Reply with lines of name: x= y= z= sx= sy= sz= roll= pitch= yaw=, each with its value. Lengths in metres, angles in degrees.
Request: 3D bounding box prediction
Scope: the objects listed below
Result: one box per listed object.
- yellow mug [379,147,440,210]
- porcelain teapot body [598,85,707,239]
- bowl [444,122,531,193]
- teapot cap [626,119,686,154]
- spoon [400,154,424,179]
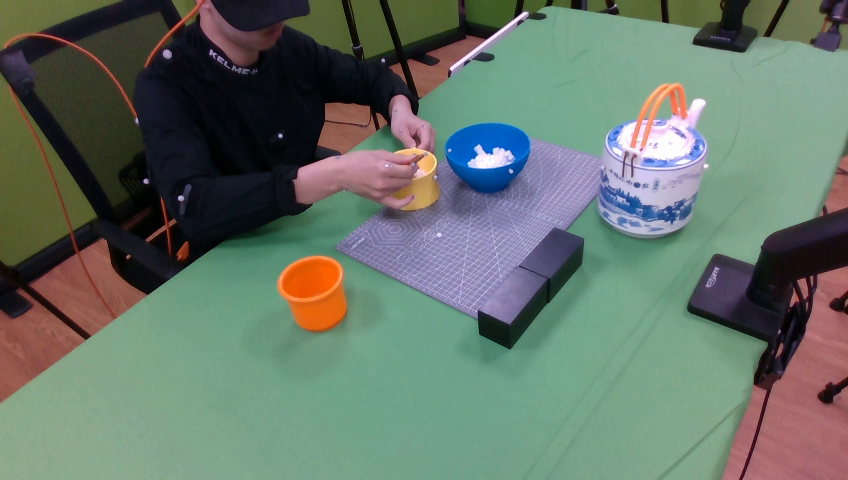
yellow mug: x=-0.023 y=-0.117 z=1.071 sx=0.100 sy=0.064 sz=0.130 roll=0 pitch=40 yaw=8
porcelain teapot body: x=0.363 y=-0.137 z=0.921 sx=0.144 sy=0.226 sz=0.206 roll=28 pitch=51 yaw=36
bowl: x=0.113 y=-0.136 z=1.063 sx=0.151 sy=0.077 sz=0.150 roll=-4 pitch=41 yaw=4
teapot cap: x=0.338 y=-0.153 z=0.882 sx=0.085 sy=0.044 sz=0.085 roll=-3 pitch=38 yaw=3
spoon: x=-0.024 y=-0.117 z=1.004 sx=0.042 sy=0.193 sz=0.021 roll=-14 pitch=83 yaw=-11
